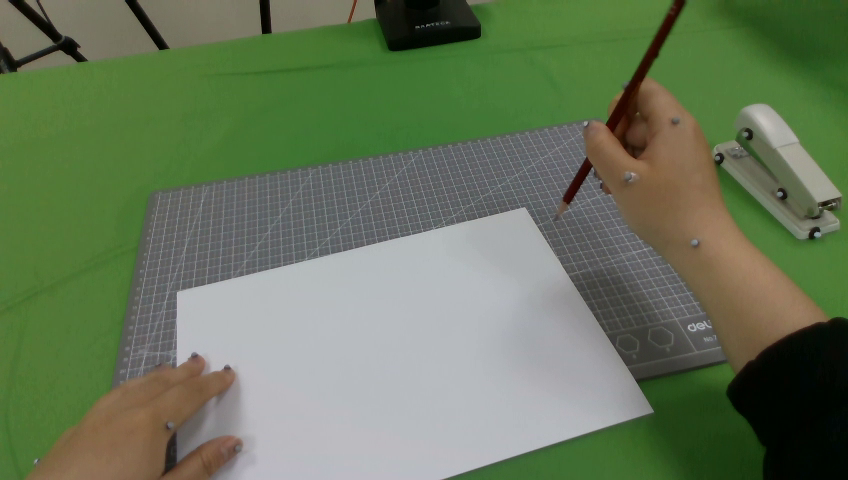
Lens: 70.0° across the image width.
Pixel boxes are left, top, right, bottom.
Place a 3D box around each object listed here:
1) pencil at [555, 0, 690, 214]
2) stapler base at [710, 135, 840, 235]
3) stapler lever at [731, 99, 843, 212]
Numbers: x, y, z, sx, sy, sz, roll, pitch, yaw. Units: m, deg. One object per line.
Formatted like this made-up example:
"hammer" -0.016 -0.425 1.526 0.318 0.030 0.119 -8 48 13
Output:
"pencil" 0.128 -0.090 0.387 0.012 0.195 0.012 15 38 -12
"stapler base" 0.304 -0.058 0.528 0.041 0.025 0.129 -16 48 -8
"stapler lever" 0.303 -0.075 0.509 0.027 0.040 0.116 -16 48 -7
